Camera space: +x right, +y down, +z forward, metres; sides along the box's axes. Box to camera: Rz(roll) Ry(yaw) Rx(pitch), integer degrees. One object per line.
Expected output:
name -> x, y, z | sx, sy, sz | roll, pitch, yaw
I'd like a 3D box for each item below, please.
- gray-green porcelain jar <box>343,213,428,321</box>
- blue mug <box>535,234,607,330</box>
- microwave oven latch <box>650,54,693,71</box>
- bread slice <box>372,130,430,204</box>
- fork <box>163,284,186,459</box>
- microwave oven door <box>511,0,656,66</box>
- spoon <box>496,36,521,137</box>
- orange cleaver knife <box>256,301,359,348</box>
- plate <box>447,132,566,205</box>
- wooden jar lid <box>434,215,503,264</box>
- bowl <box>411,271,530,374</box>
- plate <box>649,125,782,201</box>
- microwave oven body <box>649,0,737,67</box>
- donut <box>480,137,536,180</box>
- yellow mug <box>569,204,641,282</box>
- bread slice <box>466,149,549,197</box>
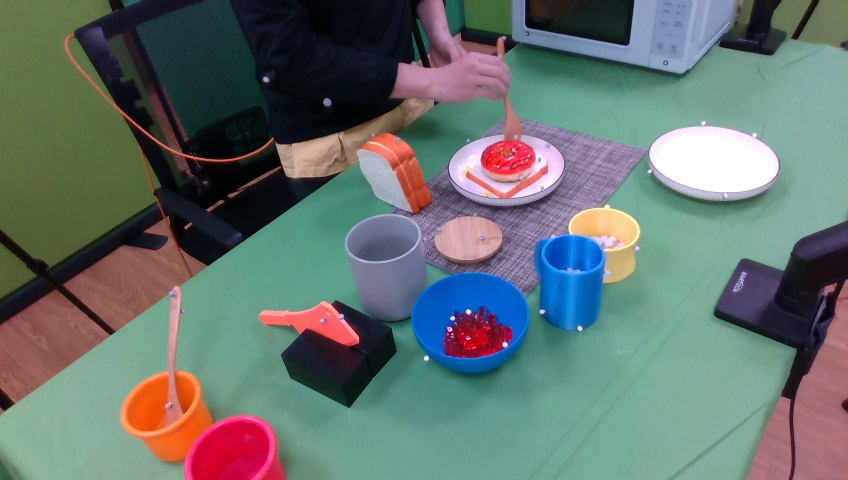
gray-green porcelain jar -> -0.049, 0.042, 0.849 | 0.106, 0.127, 0.105 | -4, 41, 4
blue mug -> 0.190, 0.048, 0.824 | 0.082, 0.106, 0.115 | -26, 44, -20
microwave oven latch -> 0.531, -0.386, 1.301 | 0.078, 0.029, 0.030 | 25, 51, 33
bread slice -> -0.042, -0.127, 1.038 | 0.106, 0.135, 0.018 | 30, 61, 33
fork -> -0.303, 0.157, 0.733 | 0.028, 0.019, 0.207 | -3, 84, 14
microwave oven door -> 0.351, -0.540, 1.349 | 0.353, 0.245, 0.039 | 24, 50, 31
spoon -> 0.144, -0.262, 1.071 | 0.042, 0.194, 0.021 | -25, 26, -22
orange cleaver knife -> -0.160, 0.115, 0.813 | 0.210, 0.077, 0.012 | -9, 29, 48
plate -> 0.146, -0.124, 1.076 | 0.209, 0.038, 0.208 | -4, 41, 4
wooden jar lid -> 0.070, 0.001, 0.956 | 0.108, 0.021, 0.108 | -4, 40, 4
bowl -> 0.062, 0.120, 0.780 | 0.151, 0.077, 0.150 | -4, 40, 4
plate -> 0.493, -0.127, 1.036 | 0.207, 0.039, 0.206 | -4, 41, 4
microwave oven body -> 0.475, -0.602, 1.411 | 0.438, 0.261, 0.327 | 23, 50, 32
donut -> 0.146, -0.144, 1.056 | 0.099, 0.048, 0.098 | -3, 42, 4
yellow mug -> 0.268, -0.005, 0.904 | 0.099, 0.064, 0.130 | 7, 41, 15
bread slice -> 0.155, -0.130, 1.082 | 0.132, 0.019, 0.104 | -31, 45, -26
